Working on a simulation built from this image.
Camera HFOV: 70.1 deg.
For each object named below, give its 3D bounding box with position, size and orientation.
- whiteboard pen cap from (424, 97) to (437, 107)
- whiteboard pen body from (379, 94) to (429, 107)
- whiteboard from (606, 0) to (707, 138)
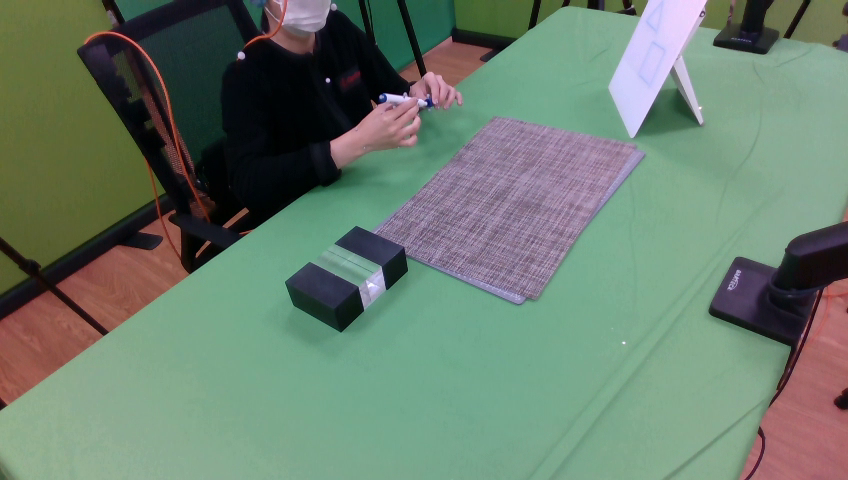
[{"bbox_3d":[0.011,-0.268,1.174,0.018,0.018,0.033,10,18,19],"label":"whiteboard pen cap"},{"bbox_3d":[-0.033,-0.252,1.102,0.017,0.017,0.142,23,19,31],"label":"whiteboard pen body"},{"bbox_3d":[0.496,-0.359,1.147,0.144,0.305,0.216,11,40,-7],"label":"whiteboard"}]
